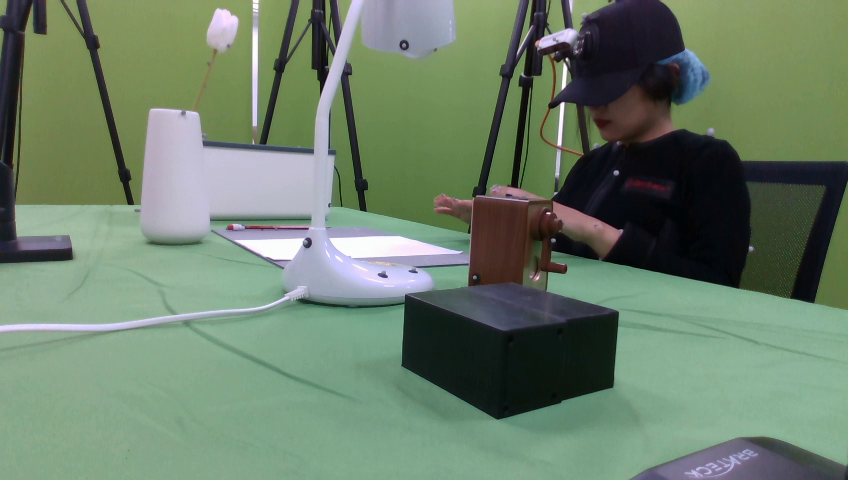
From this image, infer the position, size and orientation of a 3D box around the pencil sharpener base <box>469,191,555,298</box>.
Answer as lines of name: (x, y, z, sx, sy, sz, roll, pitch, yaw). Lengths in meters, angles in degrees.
pencil sharpener base: (0.097, 0.003, 0.652, 0.076, 0.107, 0.061, 8, 9, 38)

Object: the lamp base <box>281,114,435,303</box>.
lamp base: (-0.071, -0.035, 0.614, 0.160, 0.180, 0.180, 6, 10, 27)

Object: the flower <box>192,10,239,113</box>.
flower: (-0.354, -0.174, 0.915, 0.038, 0.361, 0.044, 18, -4, 12)

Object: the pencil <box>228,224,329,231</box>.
pencil: (-0.265, -0.023, 1.124, 0.195, 0.012, 0.012, -1, 8, -32)

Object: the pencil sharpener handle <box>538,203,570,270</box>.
pencil sharpener handle: (0.137, -0.003, 0.619, 0.030, 0.067, 0.036, 8, 4, 38)

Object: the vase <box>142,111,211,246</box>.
vase: (-0.378, -0.093, 0.920, 0.098, 0.200, 0.098, 2, 9, 0)

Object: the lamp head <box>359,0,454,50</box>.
lamp head: (-0.024, -0.283, 0.674, 0.112, 0.123, 0.112, -3, 38, 3)

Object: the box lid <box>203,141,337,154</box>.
box lid: (-0.407, -0.209, 1.370, 0.373, 0.015, 0.262, -1, 8, -31)

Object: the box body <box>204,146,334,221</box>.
box body: (-0.413, -0.134, 1.379, 0.366, 0.160, 0.253, -2, 9, -31)
